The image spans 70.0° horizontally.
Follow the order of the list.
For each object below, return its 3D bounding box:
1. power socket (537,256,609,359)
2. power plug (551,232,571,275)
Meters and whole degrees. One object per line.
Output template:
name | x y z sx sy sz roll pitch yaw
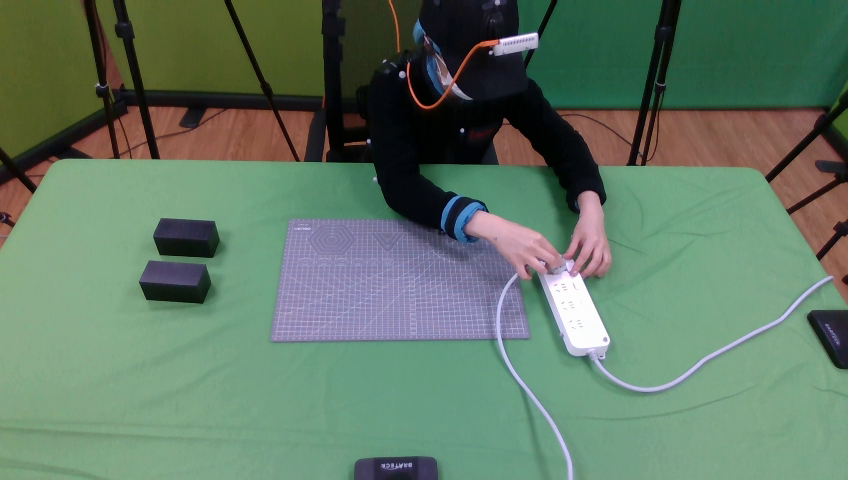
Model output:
power socket | 0.266 0.115 1.097 0.072 0.033 0.225 -5 47 -8
power plug | 0.251 0.027 1.104 0.035 0.073 0.052 -1 27 4
